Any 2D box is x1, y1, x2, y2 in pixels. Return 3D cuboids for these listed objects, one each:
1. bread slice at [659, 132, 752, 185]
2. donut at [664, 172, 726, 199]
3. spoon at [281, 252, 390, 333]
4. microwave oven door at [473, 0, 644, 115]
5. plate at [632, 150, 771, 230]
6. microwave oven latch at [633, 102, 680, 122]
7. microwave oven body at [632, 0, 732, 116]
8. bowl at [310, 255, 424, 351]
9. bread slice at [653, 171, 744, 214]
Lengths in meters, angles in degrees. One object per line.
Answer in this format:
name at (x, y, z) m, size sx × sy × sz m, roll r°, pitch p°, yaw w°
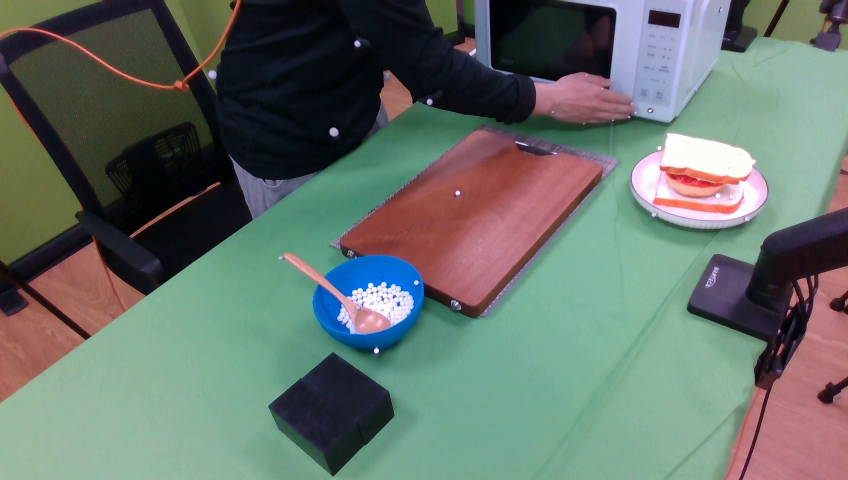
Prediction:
bread slice at (0.443, -0.127, 0.951) m, size 0.134 × 0.018 × 0.107 m, roll 14°, pitch 43°, yaw 14°
donut at (0.438, -0.105, 0.973) m, size 0.099 × 0.048 × 0.098 m, roll -10°, pitch 42°, yaw 9°
spoon at (-0.122, 0.070, 0.811) m, size 0.193 × 0.022 × 0.042 m, roll 38°, pitch 61°, yaw 16°
microwave oven door at (0.257, -0.396, 1.199) m, size 0.353 × 0.245 × 0.039 m, roll 21°, pitch 48°, yaw 29°
plate at (0.447, -0.081, 0.988) m, size 0.207 × 0.039 × 0.206 m, roll -4°, pitch 40°, yaw 4°
microwave oven latch at (0.444, -0.249, 1.157) m, size 0.078 × 0.029 × 0.030 m, roll 22°, pitch 49°, yaw 30°
microwave oven body at (0.377, -0.463, 1.267) m, size 0.438 × 0.261 × 0.327 m, roll 21°, pitch 49°, yaw 30°
bowl at (-0.072, 0.098, 0.821) m, size 0.151 × 0.077 × 0.150 m, roll -4°, pitch 40°, yaw 4°
bread slice at (0.452, -0.084, 0.992) m, size 0.131 × 0.019 × 0.105 m, roll 11°, pitch 45°, yaw 21°
